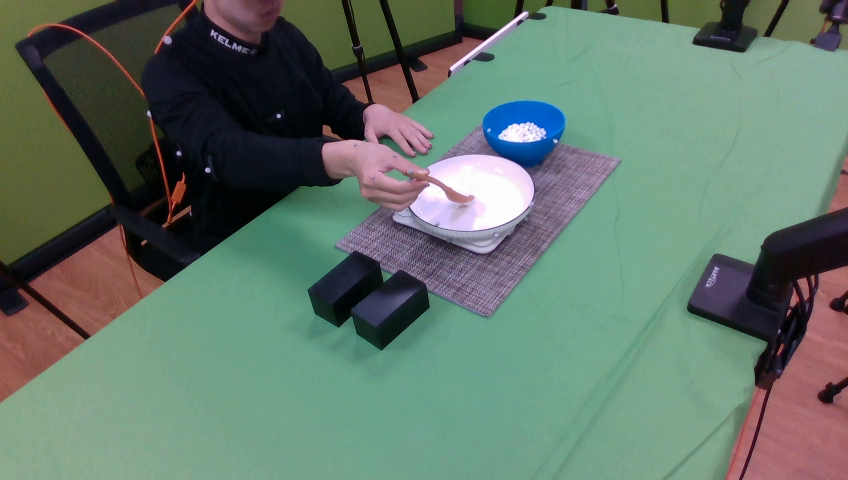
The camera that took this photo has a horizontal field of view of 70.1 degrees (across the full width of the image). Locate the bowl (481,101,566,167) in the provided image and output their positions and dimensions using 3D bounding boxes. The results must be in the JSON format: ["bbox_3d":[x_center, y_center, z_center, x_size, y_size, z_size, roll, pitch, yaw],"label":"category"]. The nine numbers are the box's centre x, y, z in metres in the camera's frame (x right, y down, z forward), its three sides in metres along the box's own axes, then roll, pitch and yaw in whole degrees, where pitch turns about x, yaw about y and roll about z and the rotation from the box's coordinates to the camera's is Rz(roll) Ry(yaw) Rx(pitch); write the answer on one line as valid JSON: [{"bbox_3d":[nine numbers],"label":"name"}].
[{"bbox_3d":[0.182,-0.186,1.111,0.151,0.077,0.150,-4,40,4],"label":"bowl"}]

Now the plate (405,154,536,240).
[{"bbox_3d":[0.075,-0.067,0.973,0.209,0.038,0.208,-4,41,4],"label":"plate"}]

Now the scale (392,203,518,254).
[{"bbox_3d":[0.060,-0.050,1.006,0.199,0.032,0.149,22,48,30],"label":"scale"}]

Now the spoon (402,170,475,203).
[{"bbox_3d":[0.021,-0.080,0.892,0.041,0.195,0.021,5,82,32],"label":"spoon"}]
